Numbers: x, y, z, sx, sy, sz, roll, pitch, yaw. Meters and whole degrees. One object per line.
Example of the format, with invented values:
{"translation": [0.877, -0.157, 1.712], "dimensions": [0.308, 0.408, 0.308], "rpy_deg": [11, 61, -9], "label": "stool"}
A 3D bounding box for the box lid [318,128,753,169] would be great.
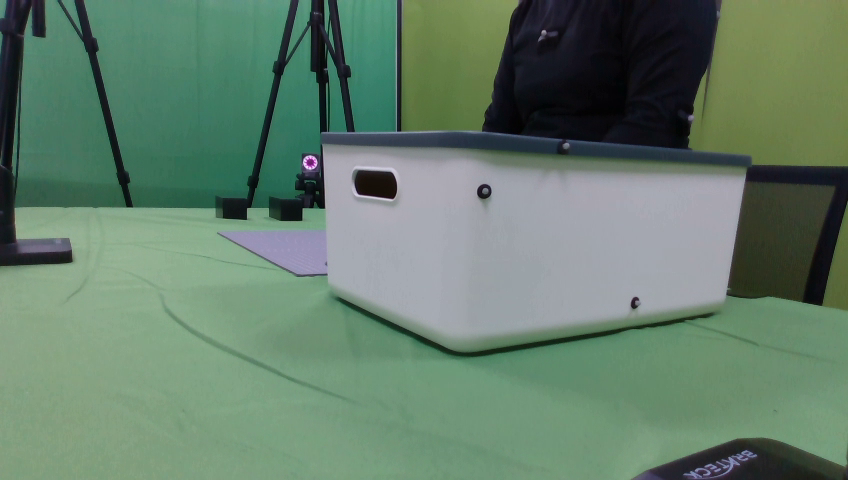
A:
{"translation": [0.107, -0.085, 0.593], "dimensions": [0.373, 0.015, 0.262], "rpy_deg": [-1, 8, -34], "label": "box lid"}

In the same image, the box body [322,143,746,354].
{"translation": [0.106, -0.011, 0.603], "dimensions": [0.366, 0.160, 0.253], "rpy_deg": [-2, 8, -34], "label": "box body"}
